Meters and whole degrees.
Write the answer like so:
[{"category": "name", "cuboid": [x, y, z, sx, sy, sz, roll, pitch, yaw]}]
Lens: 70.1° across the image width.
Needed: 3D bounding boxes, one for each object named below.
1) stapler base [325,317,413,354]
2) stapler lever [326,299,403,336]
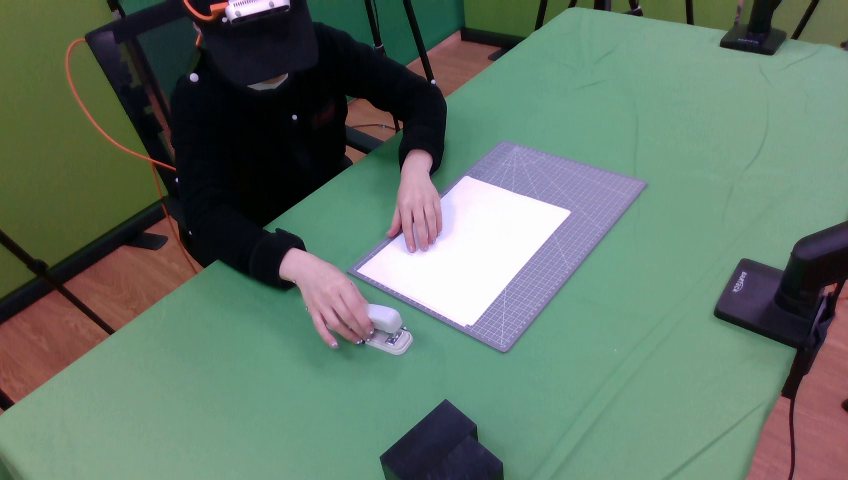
[{"category": "stapler base", "cuboid": [-0.078, 0.120, 0.842, 0.129, 0.024, 0.041, 14, 40, 26]}, {"category": "stapler lever", "cuboid": [-0.082, 0.101, 0.827, 0.117, 0.040, 0.027, 14, 41, 26]}]
